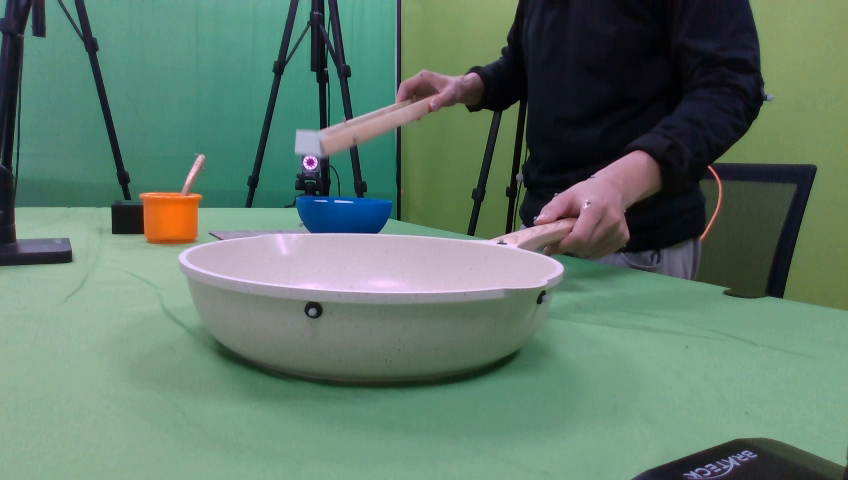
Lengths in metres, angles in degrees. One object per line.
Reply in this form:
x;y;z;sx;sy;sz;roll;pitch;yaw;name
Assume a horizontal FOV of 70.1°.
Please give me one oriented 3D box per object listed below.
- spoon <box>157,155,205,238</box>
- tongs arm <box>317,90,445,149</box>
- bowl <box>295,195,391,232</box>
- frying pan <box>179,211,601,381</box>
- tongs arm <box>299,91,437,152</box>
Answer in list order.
-0.392;-0.076;0.998;0.041;0.193;0.021;2;-37;5;spoon
-0.052;-0.202;0.976;0.028;0.028;0.389;-7;17;32;tongs arm
-0.127;-0.028;0.946;0.151;0.077;0.151;2;7;0;bowl
0.035;0.019;0.556;0.490;0.102;0.305;-16;19;-43;frying pan
-0.072;-0.201;0.988;0.050;0.026;0.386;-4;18;27;tongs arm
